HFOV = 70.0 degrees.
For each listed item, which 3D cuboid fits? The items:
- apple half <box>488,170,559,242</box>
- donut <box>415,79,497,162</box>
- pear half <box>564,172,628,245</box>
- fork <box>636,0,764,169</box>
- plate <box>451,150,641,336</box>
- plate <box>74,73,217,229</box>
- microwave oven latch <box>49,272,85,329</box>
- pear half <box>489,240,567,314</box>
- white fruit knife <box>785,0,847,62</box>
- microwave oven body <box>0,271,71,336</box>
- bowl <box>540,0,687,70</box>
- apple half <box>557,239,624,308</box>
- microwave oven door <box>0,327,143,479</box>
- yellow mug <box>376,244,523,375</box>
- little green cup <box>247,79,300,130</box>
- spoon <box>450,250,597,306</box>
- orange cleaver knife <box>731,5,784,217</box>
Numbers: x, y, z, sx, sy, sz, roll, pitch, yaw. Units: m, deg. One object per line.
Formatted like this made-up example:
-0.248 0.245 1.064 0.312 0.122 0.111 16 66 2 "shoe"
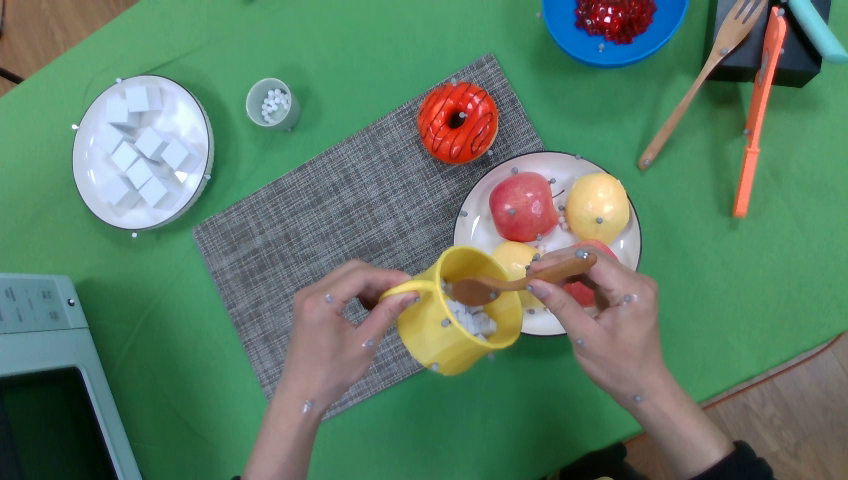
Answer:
0.109 -0.038 0.677 0.074 0.053 0.080 -11 87 12 "apple half"
0.038 -0.140 0.714 0.099 0.048 0.099 -1 88 15 "donut"
0.184 -0.030 0.663 0.070 0.031 0.088 3 97 36 "pear half"
0.286 -0.165 0.642 0.028 0.018 0.208 30 113 5 "fork"
0.136 0.003 0.686 0.208 0.038 0.208 -1 86 12 "plate"
-0.367 -0.116 0.810 0.207 0.039 0.207 -1 86 13 "plate"
-0.480 0.082 0.802 0.030 0.029 0.079 -23 82 9 "microwave oven latch"
0.115 0.049 0.674 0.109 0.056 0.076 34 99 7 "pear half"
0.368 -0.267 0.617 0.027 0.016 0.206 -22 78 -19 "white fruit knife"
-0.560 0.297 0.707 0.326 0.261 0.440 -26 82 9 "microwave oven body"
0.205 -0.254 0.671 0.151 0.077 0.151 -1 87 12 "bowl"
0.173 0.038 0.658 0.081 0.033 0.081 3 95 35 "apple half"
-0.415 0.272 0.671 0.039 0.245 0.354 -26 81 9 "microwave oven door"
0.018 0.058 0.531 0.064 0.132 0.099 -39 48 40 "yellow mug"
-0.190 -0.170 0.773 0.061 0.039 0.061 -1 86 13 "little green cup"
0.074 0.033 0.486 0.042 0.193 0.021 34 69 -15 "spoon"
0.344 -0.130 0.630 0.012 0.077 0.212 8 114 18 "orange cleaver knife"
